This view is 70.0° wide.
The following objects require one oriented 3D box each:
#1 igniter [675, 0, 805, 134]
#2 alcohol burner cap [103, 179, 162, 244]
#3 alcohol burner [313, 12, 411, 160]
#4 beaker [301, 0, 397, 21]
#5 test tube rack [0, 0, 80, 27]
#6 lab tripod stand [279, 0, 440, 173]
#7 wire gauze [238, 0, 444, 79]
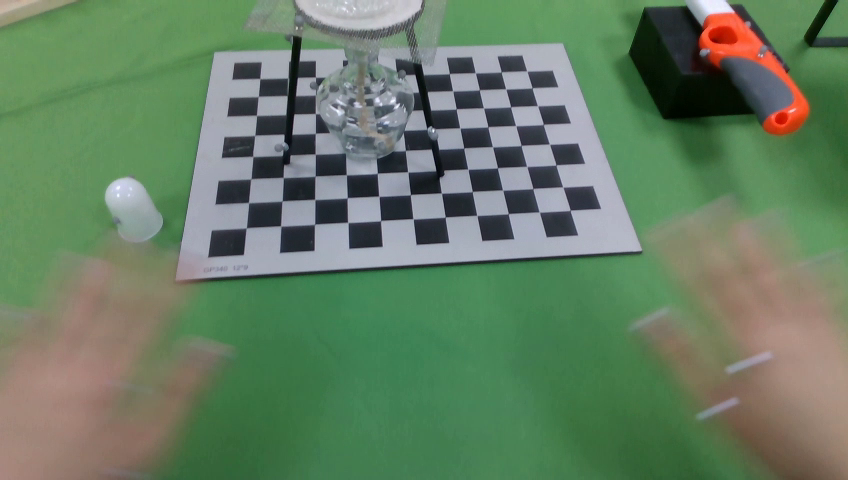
[{"bbox_3d":[0.261,-0.189,0.542,0.057,0.025,0.273,-6,51,-3],"label":"igniter"},{"bbox_3d":[-0.214,-0.023,0.439,0.034,0.048,0.033,2,53,-3],"label":"alcohol burner cap"},{"bbox_3d":[-0.049,-0.121,0.472,0.078,0.120,0.077,0,54,0],"label":"alcohol burner"},{"bbox_3d":[-0.048,-0.194,0.370,0.074,0.101,0.083,4,53,-2],"label":"beaker"},{"bbox_3d":[-0.359,-0.302,0.613,0.242,0.086,0.066,-33,62,-25],"label":"test tube rack"},{"bbox_3d":[-0.046,-0.126,0.464,0.148,0.132,0.147,3,52,-3],"label":"lab tripod stand"},{"bbox_3d":[-0.046,-0.164,0.410,0.125,0.011,0.120,13,55,1],"label":"wire gauze"}]
